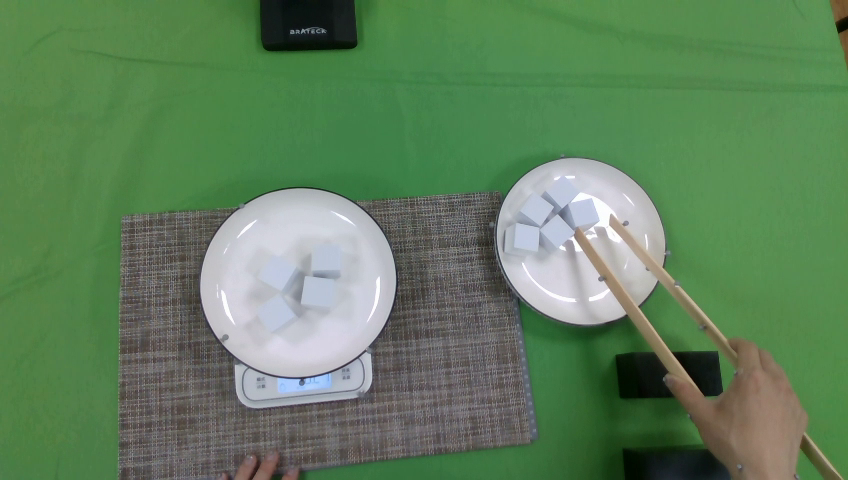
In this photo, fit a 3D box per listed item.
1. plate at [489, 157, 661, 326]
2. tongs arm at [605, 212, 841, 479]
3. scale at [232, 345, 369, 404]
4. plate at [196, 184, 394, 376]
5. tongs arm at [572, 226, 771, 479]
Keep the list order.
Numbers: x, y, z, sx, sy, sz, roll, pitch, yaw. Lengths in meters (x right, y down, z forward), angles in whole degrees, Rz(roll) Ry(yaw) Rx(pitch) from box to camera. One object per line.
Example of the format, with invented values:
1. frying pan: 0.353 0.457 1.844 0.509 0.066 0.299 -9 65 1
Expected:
1. plate: 0.179 0.003 0.733 0.208 0.039 0.206 1 77 -5
2. tongs arm: 0.291 0.115 0.630 0.051 0.027 0.380 -26 57 -13
3. scale: -0.142 0.078 0.684 0.149 0.031 0.200 -4 78 -6
4. plate: -0.137 0.042 0.659 0.209 0.038 0.208 1 77 -6
5. tongs arm: 0.264 0.127 0.625 0.028 0.028 0.383 -22 56 -14
